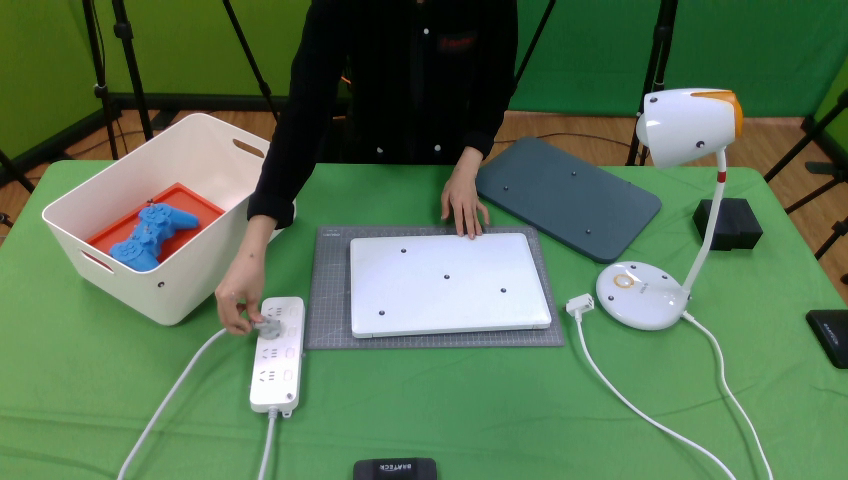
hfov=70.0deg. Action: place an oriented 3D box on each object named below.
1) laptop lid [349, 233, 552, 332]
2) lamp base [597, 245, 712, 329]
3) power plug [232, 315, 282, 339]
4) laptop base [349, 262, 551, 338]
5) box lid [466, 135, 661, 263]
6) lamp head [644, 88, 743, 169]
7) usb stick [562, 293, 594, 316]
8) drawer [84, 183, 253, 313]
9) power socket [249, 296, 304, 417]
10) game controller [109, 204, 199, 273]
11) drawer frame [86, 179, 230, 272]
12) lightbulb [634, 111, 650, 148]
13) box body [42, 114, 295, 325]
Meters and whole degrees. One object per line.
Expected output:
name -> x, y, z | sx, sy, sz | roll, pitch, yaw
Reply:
laptop lid -> 0.040, 0.070, 1.119 | 0.357, 0.013, 0.240 | -1, 44, -5
lamp base -> 0.418, 0.051, 1.071 | 0.179, 0.181, 0.160 | 22, 49, 13
power plug -> -0.272, 0.144, 1.000 | 0.072, 0.053, 0.035 | 5, 46, 5
laptop base -> 0.039, 0.080, 1.125 | 0.355, 0.023, 0.234 | -2, 43, -6
box lid -> 0.306, -0.102, 1.327 | 0.370, 0.015, 0.263 | 32, 52, 25
lamp head -> 0.380, -0.161, 0.851 | 0.122, 0.113, 0.112 | -4, 42, 25
usb stick -> 0.274, 0.118, 1.088 | 0.021, 0.059, 0.027 | 40, 44, -28
drawer -> -0.457, 0.009, 1.100 | 0.194, 0.073, 0.211 | 29, 50, 21
power socket -> -0.240, 0.182, 0.996 | 0.072, 0.033, 0.225 | -2, 47, -5
game controller -> -0.467, -0.005, 1.044 | 0.097, 0.052, 0.154 | 8, 46, 10
drawer frame -> -0.453, 0.010, 1.100 | 0.201, 0.083, 0.213 | 28, 55, 22
lightbulb -> 0.348, -0.163, 0.852 | 0.059, 0.060, 0.107 | -36, 19, -32
box body -> -0.437, -0.046, 1.110 | 0.253, 0.161, 0.363 | 24, 49, 19
